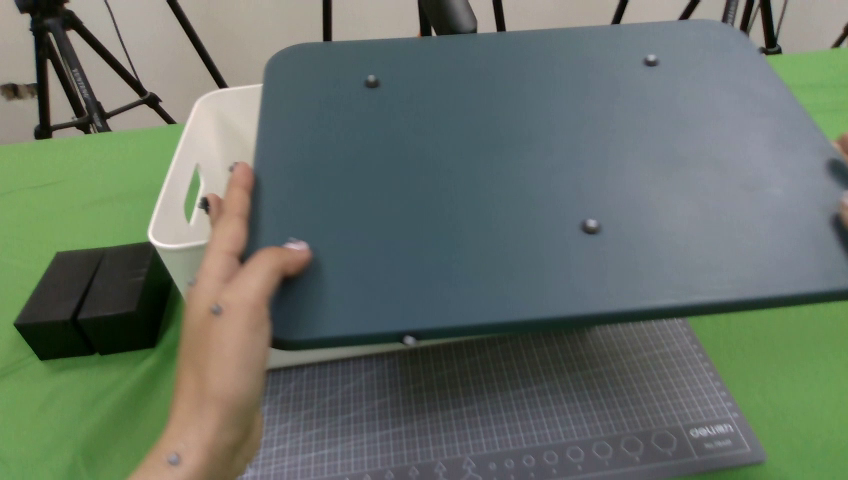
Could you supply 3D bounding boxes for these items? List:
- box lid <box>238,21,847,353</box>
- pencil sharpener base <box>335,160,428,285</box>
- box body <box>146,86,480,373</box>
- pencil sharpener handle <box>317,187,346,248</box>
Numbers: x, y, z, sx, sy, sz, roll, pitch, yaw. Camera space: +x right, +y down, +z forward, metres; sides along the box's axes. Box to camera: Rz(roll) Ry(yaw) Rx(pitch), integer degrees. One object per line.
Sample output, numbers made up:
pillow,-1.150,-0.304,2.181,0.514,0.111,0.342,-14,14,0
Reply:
box lid,0.074,-0.057,0.393,0.372,0.015,0.260,-5,51,-3
pencil sharpener base,-0.039,-0.014,0.583,0.077,0.108,0.060,-7,40,-1
box body,-0.027,-0.034,0.573,0.364,0.162,0.251,-8,40,-4
pencil sharpener handle,-0.091,-0.018,0.574,0.030,0.068,0.035,-7,43,-1
